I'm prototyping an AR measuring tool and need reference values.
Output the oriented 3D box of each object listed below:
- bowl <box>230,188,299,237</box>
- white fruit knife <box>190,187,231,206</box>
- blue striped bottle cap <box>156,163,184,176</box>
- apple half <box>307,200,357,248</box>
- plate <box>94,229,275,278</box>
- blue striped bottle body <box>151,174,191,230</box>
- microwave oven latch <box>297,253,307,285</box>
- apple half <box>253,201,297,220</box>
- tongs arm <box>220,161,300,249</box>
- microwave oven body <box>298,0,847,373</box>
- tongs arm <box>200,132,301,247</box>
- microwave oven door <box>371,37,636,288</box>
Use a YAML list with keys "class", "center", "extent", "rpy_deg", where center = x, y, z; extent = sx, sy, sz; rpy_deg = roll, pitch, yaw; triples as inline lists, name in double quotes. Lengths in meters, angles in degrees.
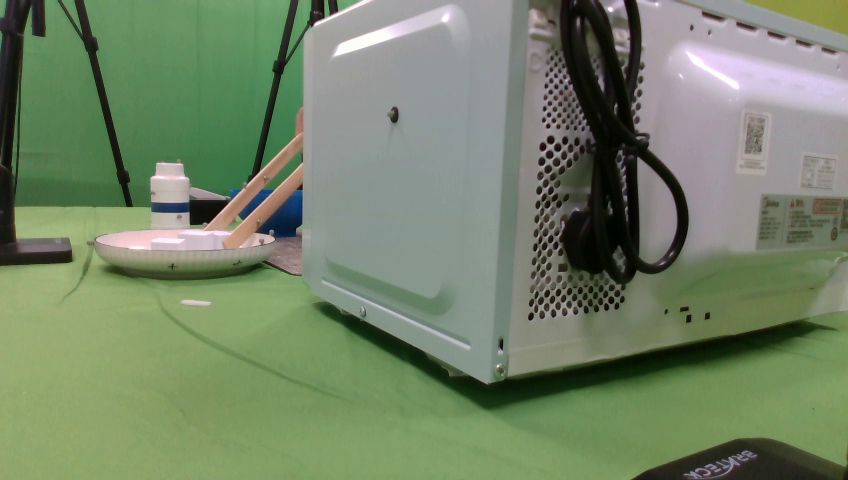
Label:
- class: "bowl"
  center: [-0.264, -0.048, 1.066]
  extent: [0.151, 0.077, 0.151]
  rpy_deg: [3, 8, 0]
- class: "white fruit knife"
  center: [-0.413, -0.081, 1.270]
  extent: [0.208, 0.027, 0.016]
  rpy_deg: [17, 13, -41]
- class: "blue striped bottle cap"
  center: [-0.438, -0.122, 1.045]
  extent: [0.044, 0.020, 0.044]
  rpy_deg: [5, 6, 0]
- class: "apple half"
  center: [-0.135, -0.024, 0.941]
  extent: [0.053, 0.074, 0.081]
  rpy_deg: [12, 8, 39]
- class: "plate"
  center: [-0.291, 0.016, 0.750]
  extent: [0.208, 0.039, 0.207]
  rpy_deg: [2, 7, 0]
- class: "blue striped bottle body"
  center: [-0.439, -0.071, 1.052]
  extent: [0.063, 0.120, 0.063]
  rpy_deg: [2, 7, 0]
- class: "microwave oven latch"
  center: [-0.081, 0.027, 0.582]
  extent: [0.079, 0.029, 0.030]
  rpy_deg: [-1, 7, -32]
- class: "apple half"
  center: [-0.264, -0.053, 1.067]
  extent: [0.081, 0.033, 0.081]
  rpy_deg: [0, 9, 0]
- class: "tongs arm"
  center: [-0.195, -0.109, 0.921]
  extent: [0.028, 0.028, 0.388]
  rpy_deg: [2, 36, 23]
- class: "microwave oven body"
  center: [0.151, -0.055, 0.542]
  extent: [0.444, 0.260, 0.324]
  rpy_deg: [-2, 7, -33]
- class: "tongs arm"
  center: [-0.216, -0.111, 0.929]
  extent: [0.050, 0.026, 0.385]
  rpy_deg: [2, 36, 18]
- class: "microwave oven door"
  center: [0.109, -0.080, 0.687]
  extent: [0.358, 0.243, 0.039]
  rpy_deg: [-2, 9, -33]
